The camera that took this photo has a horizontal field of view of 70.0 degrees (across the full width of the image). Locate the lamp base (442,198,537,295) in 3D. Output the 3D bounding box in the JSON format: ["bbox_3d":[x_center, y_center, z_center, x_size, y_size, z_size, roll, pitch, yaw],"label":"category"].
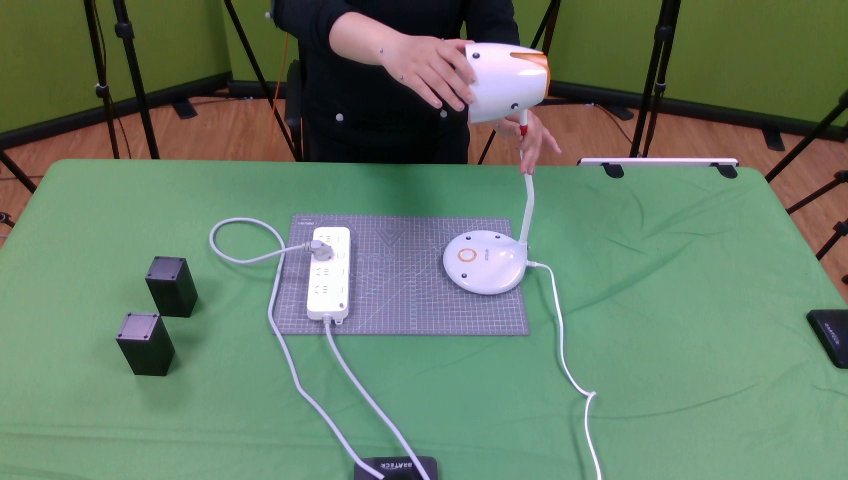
[{"bbox_3d":[0.132,-0.013,1.106,0.179,0.181,0.159,1,46,-8],"label":"lamp base"}]

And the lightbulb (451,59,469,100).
[{"bbox_3d":[0.093,-0.234,0.873,0.107,0.060,0.059,-1,45,9],"label":"lightbulb"}]

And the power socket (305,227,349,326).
[{"bbox_3d":[-0.177,0.059,1.115,0.072,0.033,0.225,-1,46,-4],"label":"power socket"}]

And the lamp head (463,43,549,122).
[{"bbox_3d":[0.118,-0.227,0.872,0.123,0.113,0.111,-2,46,-1],"label":"lamp head"}]

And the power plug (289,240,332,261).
[{"bbox_3d":[-0.207,0.022,1.123,0.072,0.053,0.035,6,44,5],"label":"power plug"}]
